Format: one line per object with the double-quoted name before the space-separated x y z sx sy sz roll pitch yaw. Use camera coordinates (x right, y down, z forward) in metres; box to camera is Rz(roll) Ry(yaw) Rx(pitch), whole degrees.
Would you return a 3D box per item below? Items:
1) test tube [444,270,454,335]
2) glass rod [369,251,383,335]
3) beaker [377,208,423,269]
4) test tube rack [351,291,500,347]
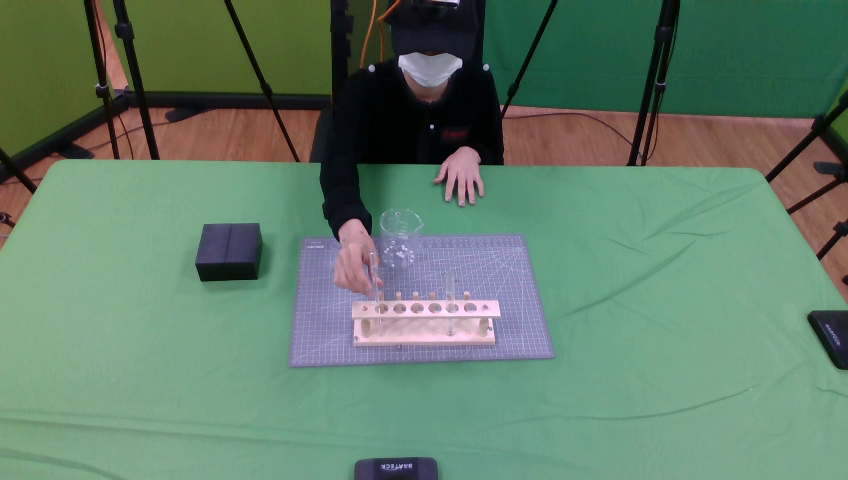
"test tube" 0.042 0.105 0.983 0.017 0.151 0.017 -1 44 1
"glass rod" -0.075 0.090 0.965 0.008 0.201 0.008 -1 44 1
"beaker" -0.046 0.000 1.138 0.084 0.101 0.073 3 46 -3
"test tube rack" 0.000 0.129 1.026 0.242 0.085 0.066 0 46 -4
